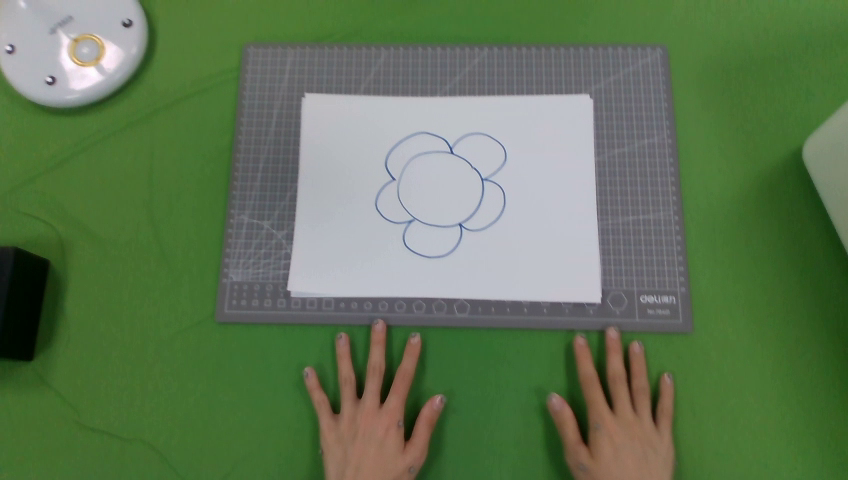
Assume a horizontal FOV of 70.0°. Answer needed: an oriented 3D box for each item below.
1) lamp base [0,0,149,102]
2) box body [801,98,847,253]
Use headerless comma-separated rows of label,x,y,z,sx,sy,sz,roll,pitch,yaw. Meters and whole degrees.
lamp base,-0.389,-0.248,0.580,0.178,0.181,0.160,34,78,13
box body,0.523,0.005,0.496,0.254,0.161,0.362,-17,75,-3
